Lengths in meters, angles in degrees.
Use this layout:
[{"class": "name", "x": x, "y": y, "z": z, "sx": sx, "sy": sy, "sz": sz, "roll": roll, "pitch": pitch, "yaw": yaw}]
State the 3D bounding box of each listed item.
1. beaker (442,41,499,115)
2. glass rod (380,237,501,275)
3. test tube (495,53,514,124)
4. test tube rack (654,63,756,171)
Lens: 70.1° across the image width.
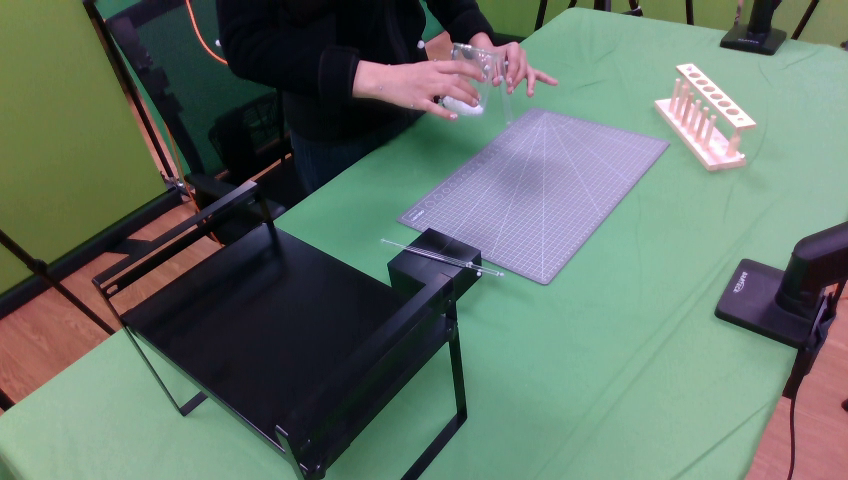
[{"class": "beaker", "x": 0.073, "y": -0.255, "z": 0.958, "sx": 0.073, "sy": 0.100, "sz": 0.084, "roll": 27, "pitch": 25, "yaw": 31}, {"class": "glass rod", "x": 0.020, "y": 0.023, "z": 0.881, "sx": 0.198, "sy": 0.008, "sz": 0.008, "roll": 16, "pitch": 46, "yaw": 25}, {"class": "test tube", "x": 0.141, "y": -0.262, "z": 1.058, "sx": 0.017, "sy": 0.151, "sz": 0.017, "roll": -8, "pitch": 51, "yaw": 10}, {"class": "test tube rack", "x": 0.510, "y": -0.234, "z": 1.120, "sx": 0.067, "sy": 0.085, "sz": 0.241, "roll": -8, "pitch": 41, "yaw": -1}]
